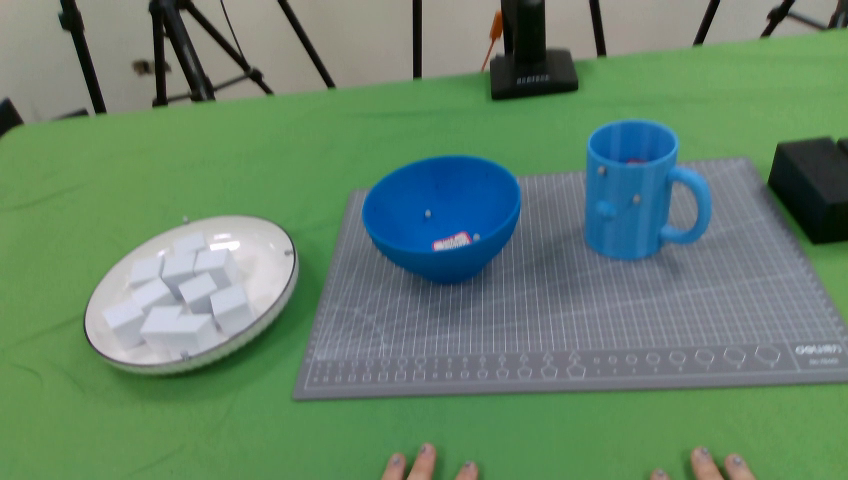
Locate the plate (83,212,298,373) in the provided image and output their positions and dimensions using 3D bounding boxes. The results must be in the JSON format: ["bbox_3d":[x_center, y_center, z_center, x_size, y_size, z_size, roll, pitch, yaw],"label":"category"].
[{"bbox_3d":[-0.225,0.051,0.603,0.209,0.038,0.207,-6,41,5],"label":"plate"}]

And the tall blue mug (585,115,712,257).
[{"bbox_3d":[0.204,-0.048,0.556,0.107,0.109,0.077,4,42,18],"label":"tall blue mug"}]

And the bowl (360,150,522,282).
[{"bbox_3d":[0.021,-0.013,0.583,0.151,0.077,0.150,-6,41,6],"label":"bowl"}]
